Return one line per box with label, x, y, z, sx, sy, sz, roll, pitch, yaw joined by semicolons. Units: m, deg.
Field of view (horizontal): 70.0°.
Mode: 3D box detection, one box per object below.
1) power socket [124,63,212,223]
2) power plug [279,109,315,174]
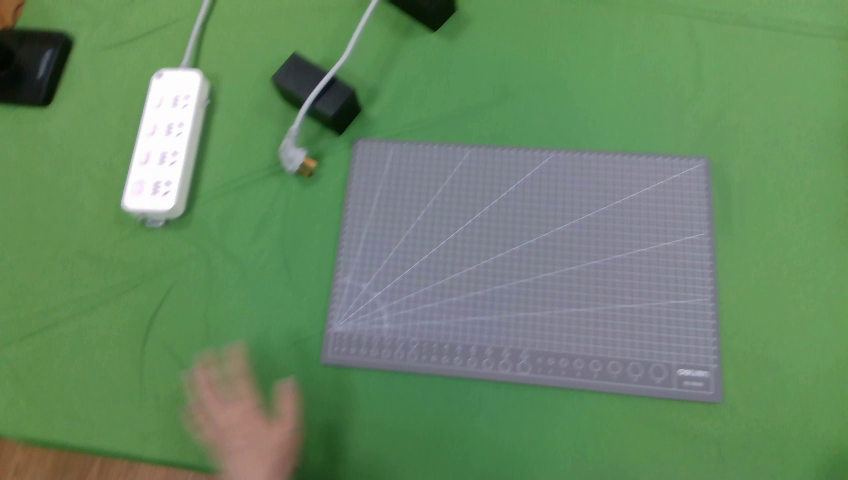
power socket;-0.333;-0.133;0.795;0.072;0.033;0.225;4;72;4
power plug;-0.152;-0.119;0.764;0.053;0.035;0.073;30;115;-24
